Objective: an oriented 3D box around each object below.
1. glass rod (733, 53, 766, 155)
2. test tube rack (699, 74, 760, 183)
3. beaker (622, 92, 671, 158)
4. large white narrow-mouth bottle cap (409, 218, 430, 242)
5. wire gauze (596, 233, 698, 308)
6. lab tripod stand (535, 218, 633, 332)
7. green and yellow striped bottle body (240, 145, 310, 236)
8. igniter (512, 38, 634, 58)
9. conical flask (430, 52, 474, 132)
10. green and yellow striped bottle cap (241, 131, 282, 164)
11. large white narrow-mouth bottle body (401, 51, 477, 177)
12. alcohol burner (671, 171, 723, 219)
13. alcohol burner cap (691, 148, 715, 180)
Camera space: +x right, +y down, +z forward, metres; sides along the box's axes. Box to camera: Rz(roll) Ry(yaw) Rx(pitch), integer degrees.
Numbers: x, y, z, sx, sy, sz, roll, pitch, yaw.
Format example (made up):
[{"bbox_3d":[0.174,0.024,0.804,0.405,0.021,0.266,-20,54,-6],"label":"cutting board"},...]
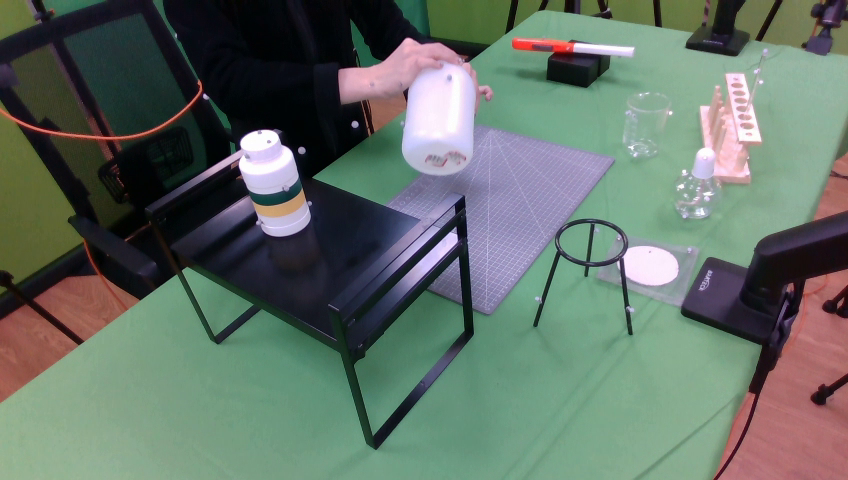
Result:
[{"bbox_3d":[0.540,-0.220,1.007,0.008,0.201,0.008,-5,46,6],"label":"glass rod"},{"bbox_3d":[0.547,-0.208,1.095,0.066,0.085,0.242,6,42,15],"label":"test tube rack"},{"bbox_3d":[0.402,-0.210,1.106,0.074,0.101,0.083,-9,40,-2],"label":"beaker"},{"bbox_3d":[-0.008,-0.017,0.999,0.038,0.024,0.037,-3,39,3],"label":"large white narrow-mouth bottle cap"},{"bbox_3d":[0.331,0.038,0.897,0.124,0.011,0.121,18,47,26],"label":"wire gauze"},{"bbox_3d":[0.216,0.050,0.803,0.148,0.132,0.147,-4,42,4],"label":"lab tripod stand"},{"bbox_3d":[-0.181,-0.069,0.729,0.063,0.120,0.063,-4,40,4],"label":"green and yellow striped bottle body"},{"bbox_3d":[0.328,-0.433,1.360,0.275,0.025,0.057,12,33,20],"label":"igniter"},{"bbox_3d":[0.045,-0.246,1.003,0.075,0.122,0.075,-2,46,2],"label":"conical flask"},{"bbox_3d":[-0.187,-0.107,0.695,0.045,0.020,0.045,-3,39,3],"label":"green and yellow striped bottle cap"},{"bbox_3d":[0.027,-0.197,0.894,0.101,0.102,0.194,2,64,10],"label":"large white narrow-mouth bottle body"},{"bbox_3d":[0.434,-0.093,0.955,0.078,0.119,0.077,-3,43,4],"label":"alcohol burner"},{"bbox_3d":[0.432,-0.120,0.930,0.034,0.048,0.033,-7,48,8],"label":"alcohol burner cap"}]
